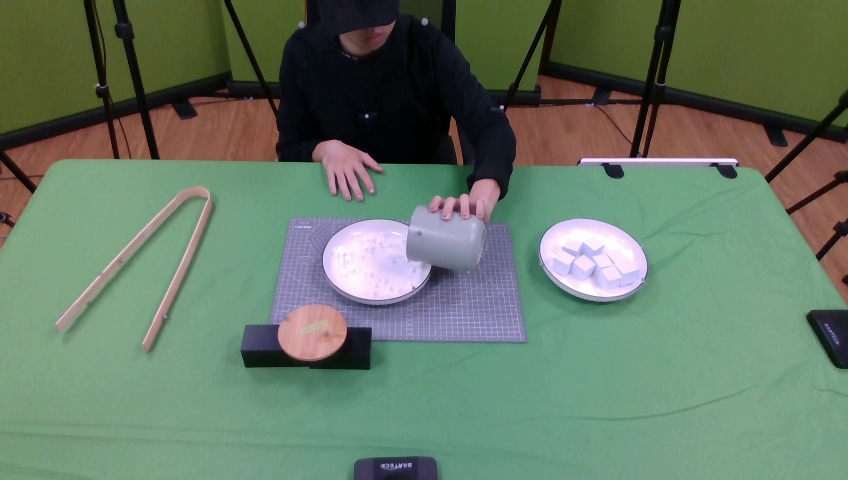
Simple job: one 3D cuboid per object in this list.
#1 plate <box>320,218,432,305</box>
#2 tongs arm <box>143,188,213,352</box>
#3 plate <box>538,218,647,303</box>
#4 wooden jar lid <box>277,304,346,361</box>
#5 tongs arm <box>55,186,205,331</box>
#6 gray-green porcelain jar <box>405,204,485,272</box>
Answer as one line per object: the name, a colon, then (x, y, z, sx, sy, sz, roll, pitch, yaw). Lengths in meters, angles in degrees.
plate: (-0.089, 0.044, 1.134, 0.209, 0.038, 0.208, 2, 46, -2)
tongs arm: (-0.449, 0.040, 1.122, 0.028, 0.028, 0.385, 2, 46, 1)
plate: (0.322, 0.043, 1.171, 0.208, 0.039, 0.206, 2, 46, -2)
wooden jar lid: (-0.179, 0.150, 0.972, 0.108, 0.021, 0.107, 2, 45, -2)
tongs arm: (-0.530, 0.022, 1.125, 0.051, 0.026, 0.383, 15, 46, 8)
gray-green porcelain jar: (0.040, -0.002, 1.089, 0.126, 0.106, 0.105, 11, 46, 11)
